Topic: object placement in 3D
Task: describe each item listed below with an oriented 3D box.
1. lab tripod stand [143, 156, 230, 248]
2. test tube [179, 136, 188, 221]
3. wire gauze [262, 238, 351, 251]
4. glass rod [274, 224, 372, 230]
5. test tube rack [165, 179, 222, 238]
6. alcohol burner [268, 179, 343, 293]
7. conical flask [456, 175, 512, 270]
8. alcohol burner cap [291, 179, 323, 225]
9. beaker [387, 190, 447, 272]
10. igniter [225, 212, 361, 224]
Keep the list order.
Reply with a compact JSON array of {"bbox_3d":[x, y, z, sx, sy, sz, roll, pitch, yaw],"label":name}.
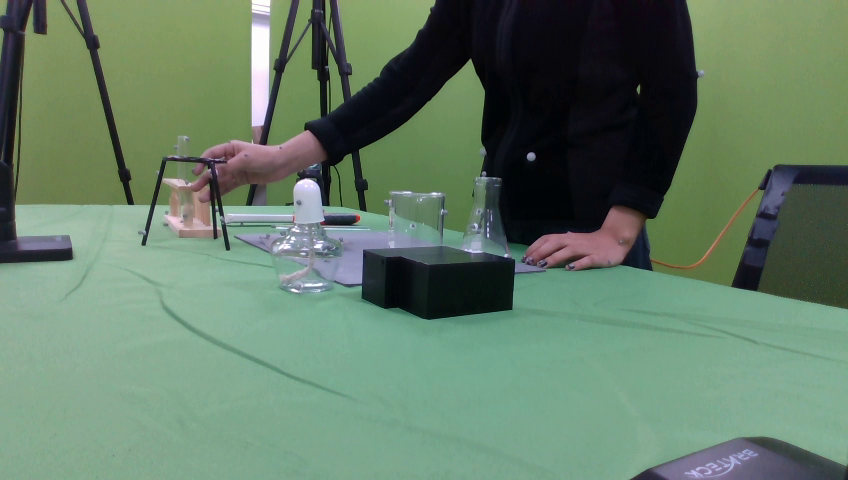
[{"bbox_3d":[-0.339,-0.058,0.907,0.148,0.131,0.148,4,7,0],"label":"lab tripod stand"},{"bbox_3d":[-0.425,-0.108,1.070,0.017,0.150,0.017,4,9,0],"label":"test tube"},{"bbox_3d":[-0.185,0.004,0.938,0.122,0.011,0.124,-1,6,-24],"label":"wire gauze"},{"bbox_3d":[-0.193,-0.024,1.176,0.201,0.008,0.008,1,6,-31],"label":"glass rod"},{"bbox_3d":[-0.423,-0.062,1.098,0.067,0.085,0.241,-2,9,-28],"label":"test tube rack"},{"bbox_3d":[-0.124,-0.005,0.637,0.078,0.119,0.078,4,8,0],"label":"alcohol burner"},{"bbox_3d":[0.082,-0.025,0.801,0.075,0.122,0.075,2,7,0],"label":"conical flask"},{"bbox_3d":[-0.124,-0.040,0.632,0.034,0.048,0.034,-3,10,1],"label":"alcohol burner cap"},{"bbox_3d":[-0.010,-0.013,0.771,0.074,0.100,0.084,3,6,4],"label":"beaker"},{"bbox_3d":[-0.262,-0.044,1.239,0.278,0.025,0.057,-2,-1,-31],"label":"igniter"}]
